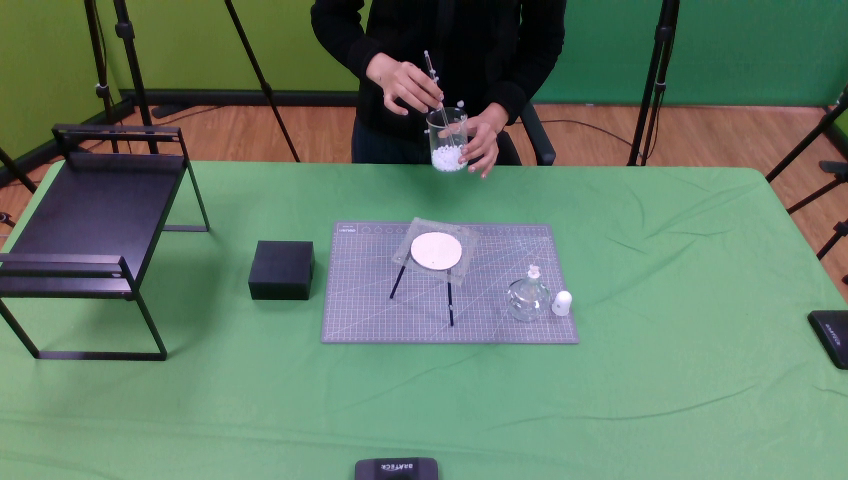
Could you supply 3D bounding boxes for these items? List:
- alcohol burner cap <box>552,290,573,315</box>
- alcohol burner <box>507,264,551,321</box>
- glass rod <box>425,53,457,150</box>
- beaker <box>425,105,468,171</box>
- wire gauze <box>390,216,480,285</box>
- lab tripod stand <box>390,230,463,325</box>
[{"bbox_3d":[0.251,0.109,1.088,0.034,0.048,0.033,2,47,-2],"label":"alcohol burner cap"},{"bbox_3d":[0.185,0.086,1.056,0.078,0.120,0.077,1,47,0],"label":"alcohol burner"},{"bbox_3d":[0.032,-0.241,1.077,0.008,0.201,0.008,-13,40,11],"label":"glass rod"},{"bbox_3d":[0.045,-0.182,1.104,0.074,0.101,0.083,-21,43,-16],"label":"beaker"},{"bbox_3d":[0.020,0.012,1.009,0.125,0.011,0.121,16,47,12],"label":"wire gauze"},{"bbox_3d":[0.014,0.060,1.056,0.148,0.132,0.147,1,48,-1],"label":"lab tripod stand"}]
